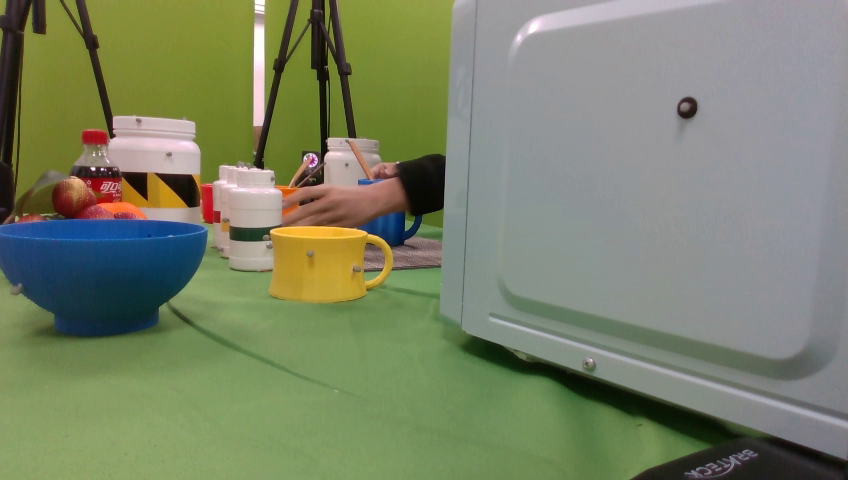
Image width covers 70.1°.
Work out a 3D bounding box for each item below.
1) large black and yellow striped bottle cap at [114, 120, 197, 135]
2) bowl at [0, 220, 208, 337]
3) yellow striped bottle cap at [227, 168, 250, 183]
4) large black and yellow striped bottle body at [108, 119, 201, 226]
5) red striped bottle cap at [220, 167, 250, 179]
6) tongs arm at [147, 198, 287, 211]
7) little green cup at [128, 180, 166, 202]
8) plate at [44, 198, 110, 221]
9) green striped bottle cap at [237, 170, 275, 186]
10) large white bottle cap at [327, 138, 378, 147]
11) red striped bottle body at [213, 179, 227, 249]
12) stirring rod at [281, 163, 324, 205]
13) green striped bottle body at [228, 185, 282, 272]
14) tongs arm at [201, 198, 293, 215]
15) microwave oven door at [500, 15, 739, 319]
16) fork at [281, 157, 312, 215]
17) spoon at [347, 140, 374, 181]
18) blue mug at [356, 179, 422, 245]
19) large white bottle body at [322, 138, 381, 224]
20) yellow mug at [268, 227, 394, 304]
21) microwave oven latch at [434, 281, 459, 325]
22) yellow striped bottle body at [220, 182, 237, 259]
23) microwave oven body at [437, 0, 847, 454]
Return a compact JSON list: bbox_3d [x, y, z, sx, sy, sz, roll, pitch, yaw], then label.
[{"bbox_3d":[-0.407,-0.171,0.920,0.115,0.019,0.115,2,9,0],"label":"large black and yellow striped bottle cap"},{"bbox_3d":[-0.251,0.029,0.479,0.151,0.077,0.151,2,7,0],"label":"bowl"},{"bbox_3d":[-0.243,-0.087,0.818,0.044,0.018,0.044,4,6,0],"label":"yellow striped bottle cap"},{"bbox_3d":[-0.412,-0.088,0.930,0.131,0.184,0.130,3,7,0],"label":"large black and yellow striped bottle body"},{"bbox_3d":[-0.281,-0.100,0.901,0.044,0.017,0.044,-1,5,0],"label":"red striped bottle cap"},{"bbox_3d":[-0.504,-0.091,1.513,0.028,0.028,0.389,-1,4,37],"label":"tongs arm"},{"bbox_3d":[-0.485,-0.087,1.062,0.061,0.038,0.061,0,7,0],"label":"little green cup"},{"bbox_3d":[-0.617,-0.056,1.179,0.209,0.038,0.209,3,7,0],"label":"plate"},{"bbox_3d":[-0.205,-0.075,0.737,0.044,0.020,0.044,1,6,0],"label":"green striped bottle cap"},{"bbox_3d":[-0.160,-0.218,1.357,0.115,0.018,0.115,2,8,0],"label":"large white bottle cap"},{"bbox_3d":[-0.284,-0.048,0.909,0.063,0.119,0.063,3,10,0],"label":"red striped bottle body"},{"bbox_3d":[-0.278,-0.105,1.293,0.176,0.006,0.014,-47,24,-18],"label":"stirring rod"},{"bbox_3d":[-0.208,-0.024,0.745,0.063,0.119,0.063,2,7,0],"label":"green striped bottle body"},{"bbox_3d":[-0.423,-0.084,1.472,0.050,0.026,0.386,2,6,21],"label":"tongs arm"},{"bbox_3d":[0.216,-0.065,0.602,0.358,0.243,0.039,-4,11,-41],"label":"microwave oven door"},{"bbox_3d":[-0.289,-0.116,1.321,0.028,0.019,0.207,6,51,19],"label":"fork"},{"bbox_3d":[-0.089,-0.094,1.028,0.042,0.193,0.021,-4,-26,-45],"label":"spoon"},{"bbox_3d":[-0.057,-0.046,1.006,0.116,0.106,0.082,5,8,21],"label":"blue mug"},{"bbox_3d":[-0.163,-0.135,1.368,0.131,0.184,0.130,2,7,0],"label":"large white bottle body"},{"bbox_3d":[-0.094,0.023,0.630,0.131,0.064,0.099,0,8,-22],"label":"yellow mug"},{"bbox_3d":[0.044,0.045,0.470,0.079,0.029,0.030,-2,8,-39],"label":"microwave oven latch"},{"bbox_3d":[-0.246,-0.036,0.825,0.063,0.120,0.063,2,8,0],"label":"yellow striped bottle body"},{"bbox_3d":[0.279,-0.040,0.464,0.444,0.260,0.324,-3,9,-41],"label":"microwave oven body"}]
